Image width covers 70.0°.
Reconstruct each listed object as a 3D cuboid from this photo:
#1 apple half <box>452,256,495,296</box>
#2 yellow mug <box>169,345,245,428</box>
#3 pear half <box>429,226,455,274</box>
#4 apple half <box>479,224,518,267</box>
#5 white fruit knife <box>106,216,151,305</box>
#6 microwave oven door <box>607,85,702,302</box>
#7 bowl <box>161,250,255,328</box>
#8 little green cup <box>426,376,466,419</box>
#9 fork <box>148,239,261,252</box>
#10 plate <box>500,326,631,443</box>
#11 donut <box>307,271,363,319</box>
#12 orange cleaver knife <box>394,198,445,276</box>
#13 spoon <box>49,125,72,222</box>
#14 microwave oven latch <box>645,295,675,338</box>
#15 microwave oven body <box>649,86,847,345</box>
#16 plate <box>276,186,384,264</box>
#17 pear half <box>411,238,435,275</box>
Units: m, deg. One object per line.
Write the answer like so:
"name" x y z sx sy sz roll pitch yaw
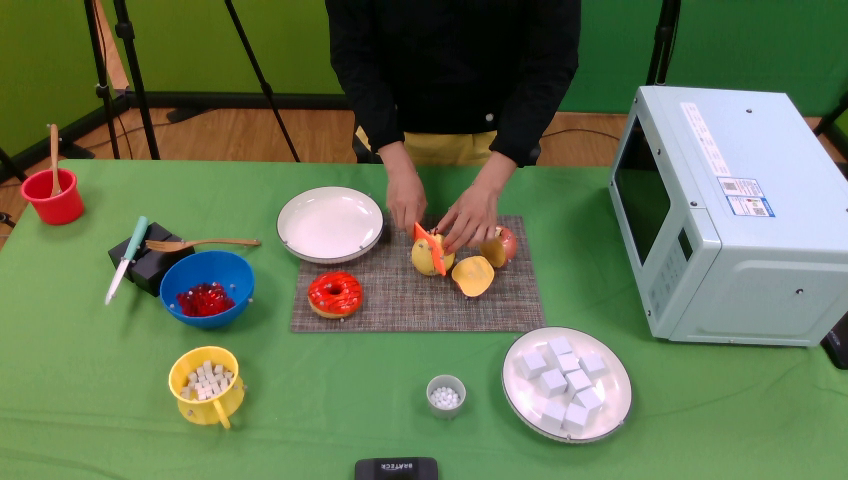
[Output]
"apple half" 0.095 0.070 1.119 0.081 0.033 0.081 -7 62 13
"yellow mug" -0.322 0.230 0.922 0.100 0.064 0.130 -24 53 -25
"pear half" 0.031 0.011 1.122 0.056 0.110 0.076 -19 56 -23
"apple half" 0.148 0.008 1.160 0.053 0.075 0.080 -24 48 -29
"white fruit knife" -0.519 0.032 1.066 0.027 0.016 0.206 -18 45 19
"microwave oven door" 0.423 -0.094 1.140 0.039 0.245 0.353 2 46 -1
"bowl" -0.362 0.097 1.040 0.151 0.077 0.150 2 45 -2
"little green cup" 0.033 0.248 0.950 0.061 0.039 0.061 2 46 -2
"fork" -0.399 0.007 1.118 0.208 0.019 0.028 -4 35 -37
"plate" 0.224 0.234 0.978 0.208 0.039 0.206 2 46 -2
"donut" -0.157 0.097 1.073 0.099 0.048 0.098 4 45 -4
"orange cleaver knife" -0.010 -0.009 1.131 0.012 0.077 0.210 -18 37 -18
"spoon" -0.717 -0.131 1.189 0.042 0.021 0.193 -3 90 -7
"microwave oven latch" 0.412 0.134 1.061 0.030 0.029 0.078 3 45 0
"microwave oven body" 0.568 -0.053 1.118 0.326 0.261 0.439 2 45 -1
"plate" -0.184 -0.027 1.195 0.209 0.038 0.208 2 46 -2
"pear half" -0.006 0.032 1.117 0.031 0.088 0.070 -28 57 -17
